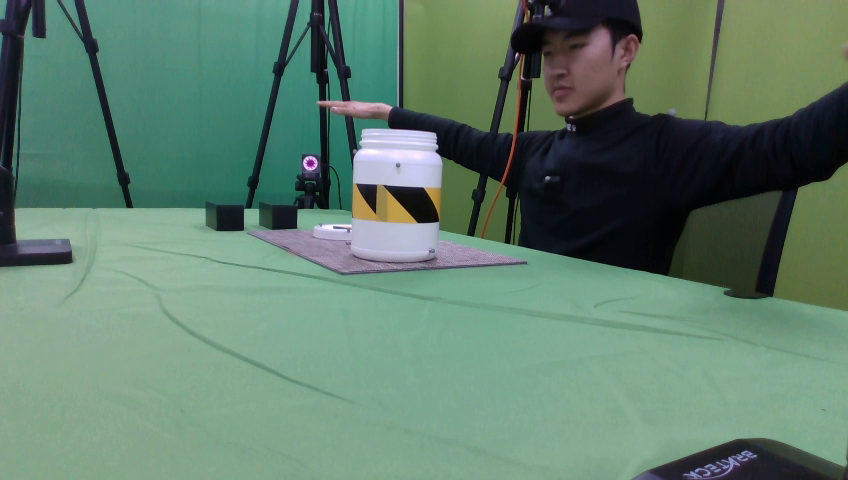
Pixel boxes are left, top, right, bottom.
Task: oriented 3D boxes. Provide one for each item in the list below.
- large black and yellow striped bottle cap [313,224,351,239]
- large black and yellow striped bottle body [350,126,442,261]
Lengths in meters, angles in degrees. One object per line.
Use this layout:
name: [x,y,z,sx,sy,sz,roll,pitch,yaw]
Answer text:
large black and yellow striped bottle cap: [-0.145,-0.016,1.107,0.115,0.019,0.115,3,7,0]
large black and yellow striped bottle body: [-0.040,-0.068,0.881,0.131,0.184,0.130,2,7,0]
